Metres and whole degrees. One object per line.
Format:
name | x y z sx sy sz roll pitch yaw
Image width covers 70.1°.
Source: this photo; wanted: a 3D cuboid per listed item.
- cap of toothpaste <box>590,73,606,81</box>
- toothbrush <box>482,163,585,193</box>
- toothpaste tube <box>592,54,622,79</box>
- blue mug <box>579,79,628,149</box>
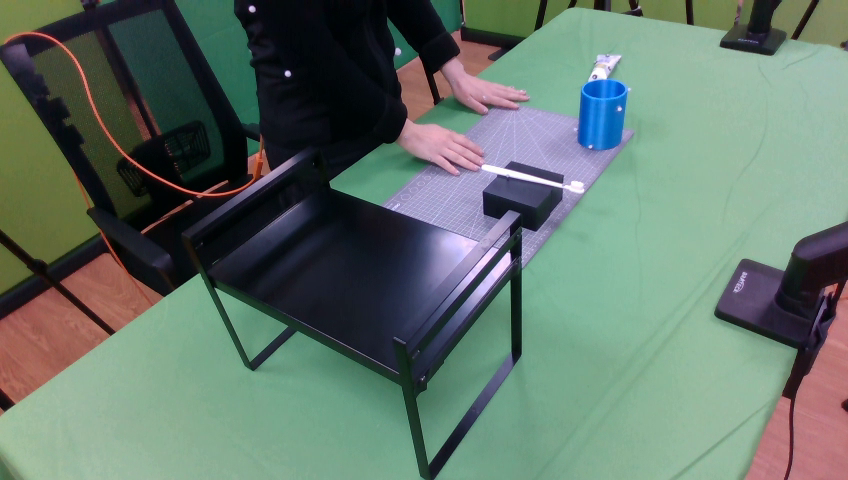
cap of toothpaste | 0.377 -0.345 1.308 0.037 0.037 0.011 10 40 19
toothbrush | 0.178 -0.105 0.997 0.180 0.017 0.014 17 51 26
toothpaste tube | 0.409 -0.390 1.364 0.055 0.034 0.165 13 41 17
blue mug | 0.336 -0.246 1.143 0.082 0.106 0.116 0 41 10
